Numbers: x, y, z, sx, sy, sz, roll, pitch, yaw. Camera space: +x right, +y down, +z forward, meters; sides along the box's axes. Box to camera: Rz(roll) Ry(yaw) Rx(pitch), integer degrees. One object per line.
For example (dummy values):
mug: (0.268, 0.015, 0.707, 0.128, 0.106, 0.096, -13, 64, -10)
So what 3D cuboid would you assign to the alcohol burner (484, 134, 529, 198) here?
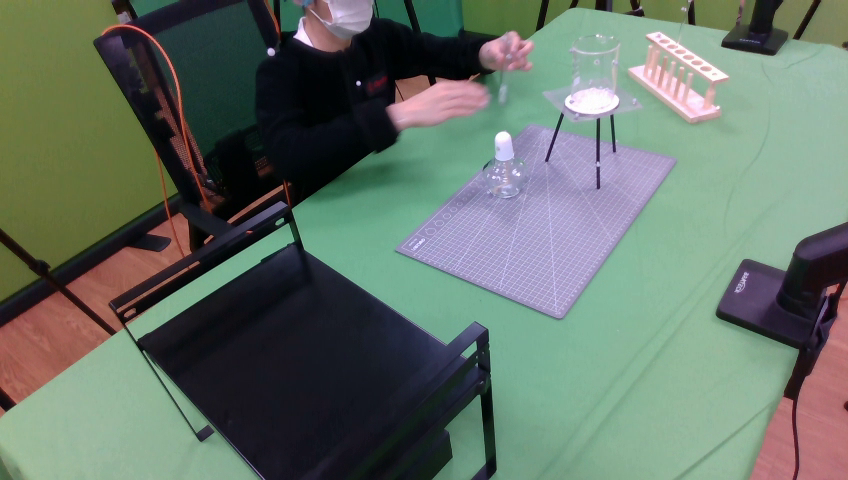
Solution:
alcohol burner: (0.141, -0.133, 1.041, 0.078, 0.119, 0.077, -5, 43, 5)

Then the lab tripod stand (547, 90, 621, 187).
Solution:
lab tripod stand: (0.289, -0.184, 1.062, 0.148, 0.132, 0.147, -6, 41, 6)

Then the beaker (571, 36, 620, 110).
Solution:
beaker: (0.280, -0.272, 0.990, 0.073, 0.101, 0.084, 17, 46, 28)

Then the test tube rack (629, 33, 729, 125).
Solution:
test tube rack: (0.516, -0.337, 1.247, 0.067, 0.085, 0.240, -14, 41, -7)

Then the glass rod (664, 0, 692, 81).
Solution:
glass rod: (0.524, -0.419, 1.240, 0.008, 0.200, 0.008, 1, 42, -1)

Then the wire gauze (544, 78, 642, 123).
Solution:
wire gauze: (0.283, -0.234, 1.021, 0.125, 0.011, 0.120, -17, 38, -4)

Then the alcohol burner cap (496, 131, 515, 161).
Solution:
alcohol burner cap: (0.135, -0.160, 1.019, 0.034, 0.048, 0.033, -8, 38, 7)

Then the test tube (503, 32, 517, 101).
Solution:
test tube: (0.165, -0.330, 1.165, 0.017, 0.151, 0.017, -1, 50, 1)
